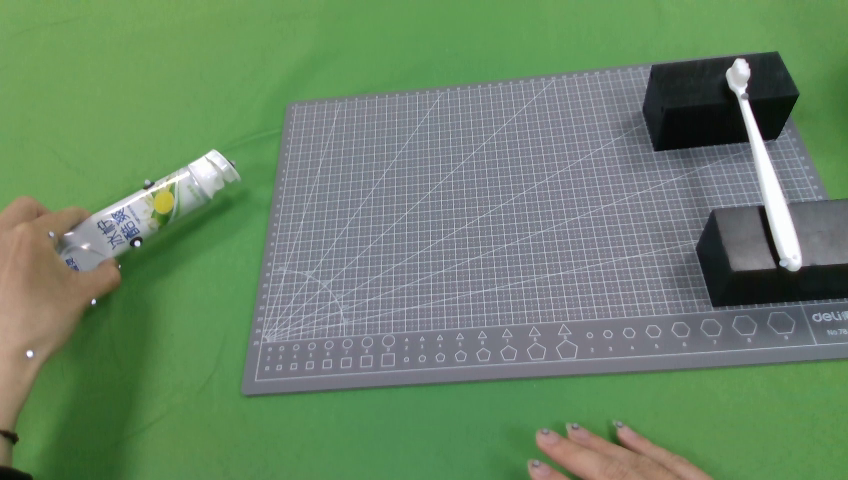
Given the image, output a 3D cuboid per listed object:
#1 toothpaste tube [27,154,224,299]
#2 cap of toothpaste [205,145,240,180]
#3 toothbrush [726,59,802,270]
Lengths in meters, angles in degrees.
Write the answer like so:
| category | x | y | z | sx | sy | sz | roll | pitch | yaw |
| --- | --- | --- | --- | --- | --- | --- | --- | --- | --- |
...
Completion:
| category | x | y | z | sx | sy | sz | roll | pitch | yaw |
| --- | --- | --- | --- | --- | --- | --- | --- | --- | --- |
| toothpaste tube | -0.240 | -0.021 | 0.504 | 0.165 | 0.034 | 0.055 | -36 | 85 | -14 |
| cap of toothpaste | -0.174 | -0.065 | 0.523 | 0.037 | 0.038 | 0.011 | 34 | 69 | 27 |
| toothbrush | 0.237 | -0.060 | 0.423 | 0.014 | 0.017 | 0.180 | 5 | 59 | -2 |
